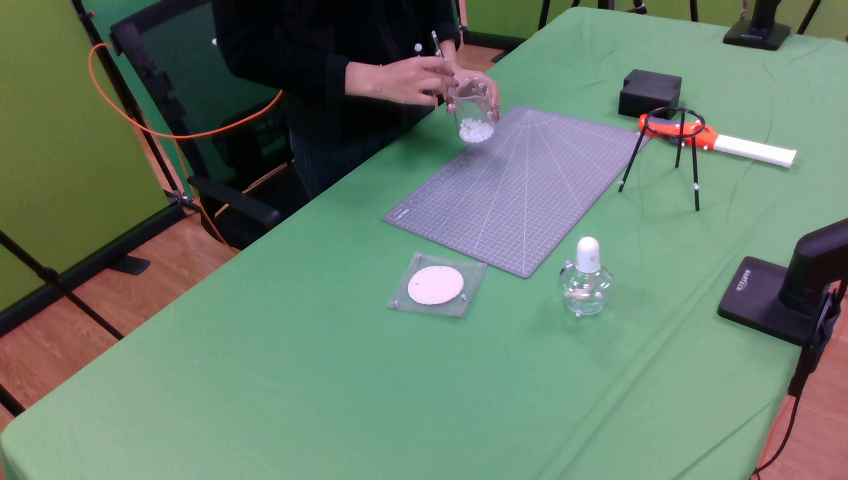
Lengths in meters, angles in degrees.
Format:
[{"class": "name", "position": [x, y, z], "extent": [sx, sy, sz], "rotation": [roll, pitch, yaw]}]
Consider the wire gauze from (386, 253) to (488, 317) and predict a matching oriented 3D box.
[{"class": "wire gauze", "position": [0.021, 0.067, 0.910], "extent": [0.121, 0.011, 0.125], "rotation": [9, 41, 20]}]

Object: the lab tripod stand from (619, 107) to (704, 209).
[{"class": "lab tripod stand", "position": [0.400, -0.136, 0.980], "extent": [0.148, 0.132, 0.147], "rotation": [-4, 41, 4]}]

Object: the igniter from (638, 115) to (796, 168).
[{"class": "igniter", "position": [0.517, -0.181, 1.093], "extent": [0.274, 0.025, 0.057], "rotation": [23, 65, 32]}]

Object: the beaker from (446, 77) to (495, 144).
[{"class": "beaker", "position": [0.090, -0.232, 1.094], "extent": [0.074, 0.101, 0.083], "rotation": [-38, 45, -24]}]

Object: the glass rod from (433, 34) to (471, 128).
[{"class": "glass rod", "position": [0.051, -0.273, 1.059], "extent": [0.008, 0.201, 0.008], "rotation": [-14, 46, 15]}]

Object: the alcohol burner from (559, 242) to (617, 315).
[{"class": "alcohol burner", "position": [0.222, 0.045, 0.816], "extent": [0.078, 0.119, 0.077], "rotation": [-4, 42, 4]}]

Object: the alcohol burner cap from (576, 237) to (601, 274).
[{"class": "alcohol burner cap", "position": [0.216, 0.018, 0.793], "extent": [0.034, 0.048, 0.033], "rotation": [-7, 35, 5]}]
